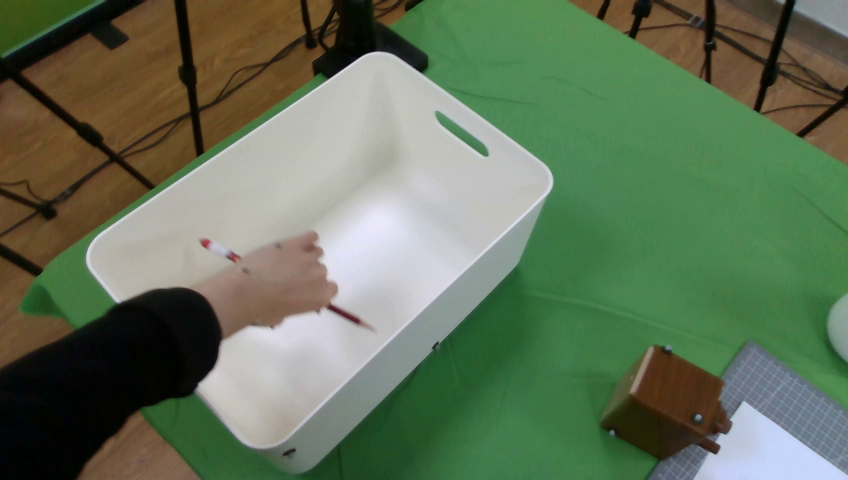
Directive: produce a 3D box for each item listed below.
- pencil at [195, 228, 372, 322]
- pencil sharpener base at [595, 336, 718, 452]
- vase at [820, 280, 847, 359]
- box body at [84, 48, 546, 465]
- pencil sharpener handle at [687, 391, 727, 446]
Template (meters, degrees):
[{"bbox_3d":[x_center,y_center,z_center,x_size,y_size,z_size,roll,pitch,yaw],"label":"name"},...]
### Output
[{"bbox_3d":[-0.136,0.035,0.586,0.194,0.012,0.012,27,62,4],"label":"pencil"},{"bbox_3d":[0.220,0.149,0.576,0.076,0.108,0.061,27,62,13],"label":"pencil sharpener base"},{"bbox_3d":[0.482,0.051,0.589,0.098,0.201,0.097,1,58,-1],"label":"vase"},{"bbox_3d":[-0.089,0.011,0.614,0.252,0.161,0.363,39,66,19],"label":"box body"},{"bbox_3d":[0.263,0.167,0.553,0.030,0.068,0.036,27,56,14],"label":"pencil sharpener handle"}]
